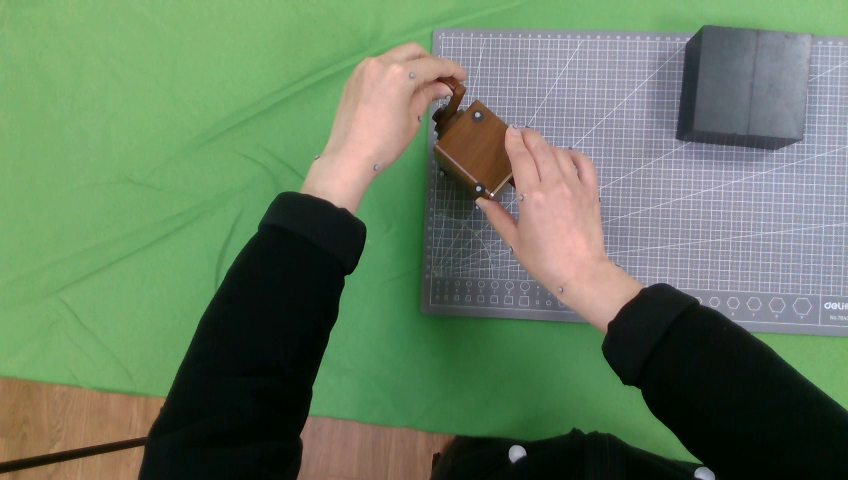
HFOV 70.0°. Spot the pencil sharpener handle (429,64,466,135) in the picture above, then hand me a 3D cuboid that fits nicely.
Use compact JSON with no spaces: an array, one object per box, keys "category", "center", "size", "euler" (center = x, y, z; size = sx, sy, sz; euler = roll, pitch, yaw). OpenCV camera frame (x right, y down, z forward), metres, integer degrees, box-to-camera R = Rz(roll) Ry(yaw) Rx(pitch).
[{"category":"pencil sharpener handle","center":[0.016,-0.126,0.540],"size":[0.030,0.068,0.036],"euler":[42,59,5]}]

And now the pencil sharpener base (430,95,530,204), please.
[{"category":"pencil sharpener base","center":[0.051,-0.084,0.578],"size":[0.076,0.107,0.061],"euler":[43,92,5]}]

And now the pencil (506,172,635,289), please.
[{"category":"pencil","center":[0.117,-0.023,0.551],"size":[0.194,0.012,0.012],"euler":[42,92,1]}]
